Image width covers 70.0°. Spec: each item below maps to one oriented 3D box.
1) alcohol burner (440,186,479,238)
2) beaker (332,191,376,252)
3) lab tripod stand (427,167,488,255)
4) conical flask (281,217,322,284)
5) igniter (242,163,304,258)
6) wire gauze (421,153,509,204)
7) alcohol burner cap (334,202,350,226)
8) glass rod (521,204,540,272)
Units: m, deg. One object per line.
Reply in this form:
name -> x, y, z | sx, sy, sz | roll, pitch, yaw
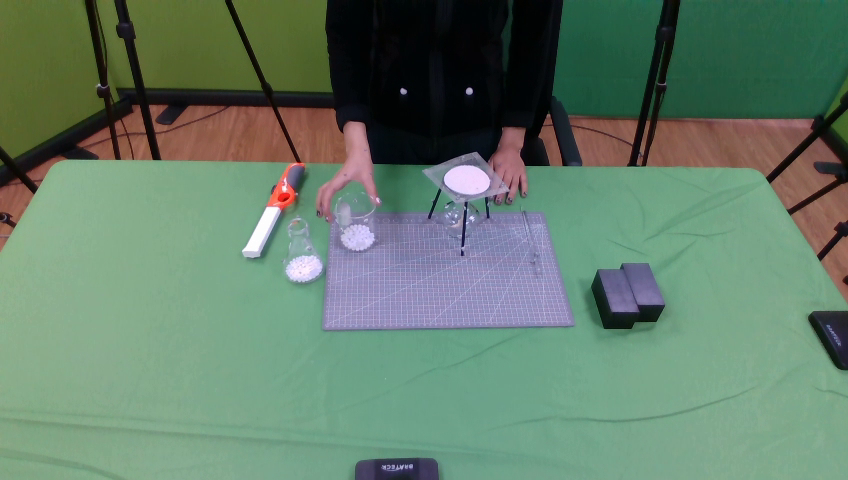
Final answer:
alcohol burner -> 0.072, -0.062, 1.198 | 0.078, 0.119, 0.077 | 3, 47, -3
beaker -> -0.133, -0.032, 1.163 | 0.084, 0.101, 0.073 | -19, 50, -20
lab tripod stand -> 0.076, -0.068, 1.191 | 0.148, 0.132, 0.147 | 2, 44, -2
conical flask -> -0.225, 0.016, 1.097 | 0.075, 0.122, 0.075 | 2, 46, -2
igniter -> -0.305, -0.069, 1.239 | 0.057, 0.025, 0.275 | 2, 45, 12
wire gauze -> 0.077, -0.116, 1.143 | 0.125, 0.011, 0.120 | -19, 49, -23
alcohol burner cap -> -0.167, -0.055, 1.223 | 0.034, 0.048, 0.033 | 3, 45, -3
glass rod -> 0.215, -0.008, 1.230 | 0.008, 0.008, 0.198 | 0, 43, -3
